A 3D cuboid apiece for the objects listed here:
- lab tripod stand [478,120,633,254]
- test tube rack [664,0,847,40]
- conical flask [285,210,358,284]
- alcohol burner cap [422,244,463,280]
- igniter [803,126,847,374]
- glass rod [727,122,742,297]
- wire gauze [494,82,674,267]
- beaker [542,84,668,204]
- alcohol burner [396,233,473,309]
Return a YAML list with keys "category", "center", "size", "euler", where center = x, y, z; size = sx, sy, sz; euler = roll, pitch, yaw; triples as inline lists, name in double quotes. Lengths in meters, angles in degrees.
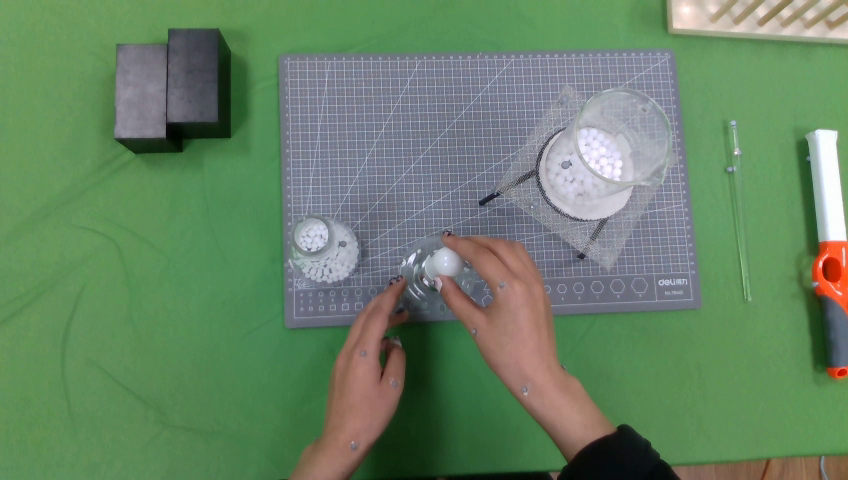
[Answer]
- category: "lab tripod stand"
  center: [0.136, -0.054, 0.603]
  size: [0.148, 0.131, 0.148]
  euler: [0, 84, -3]
- category: "test tube rack"
  center: [0.406, -0.280, 0.680]
  size: [0.243, 0.085, 0.066]
  euler: [2, 82, -4]
- category: "conical flask"
  center: [-0.103, 0.001, 0.583]
  size: [0.075, 0.122, 0.075]
  euler: [1, 82, -4]
- category: "alcohol burner cap"
  center: [0.018, 0.018, 0.541]
  size: [0.034, 0.048, 0.033]
  euler: [2, 82, -12]
- category: "igniter"
  center: [0.452, 0.009, 0.676]
  size: [0.057, 0.025, 0.275]
  euler: [1, 82, -15]
- category: "glass rod"
  center: [0.351, -0.035, 0.683]
  size: [0.008, 0.008, 0.199]
  euler: [0, 85, -5]
- category: "wire gauze"
  center: [0.142, -0.061, 0.538]
  size: [0.125, 0.011, 0.121]
  euler: [35, 84, -1]
- category: "beaker"
  center: [0.142, -0.070, 0.491]
  size: [0.074, 0.100, 0.084]
  euler: [-41, 87, -7]
- category: "alcohol burner"
  center: [0.011, 0.028, 0.593]
  size: [0.078, 0.119, 0.077]
  euler: [0, 82, -2]
